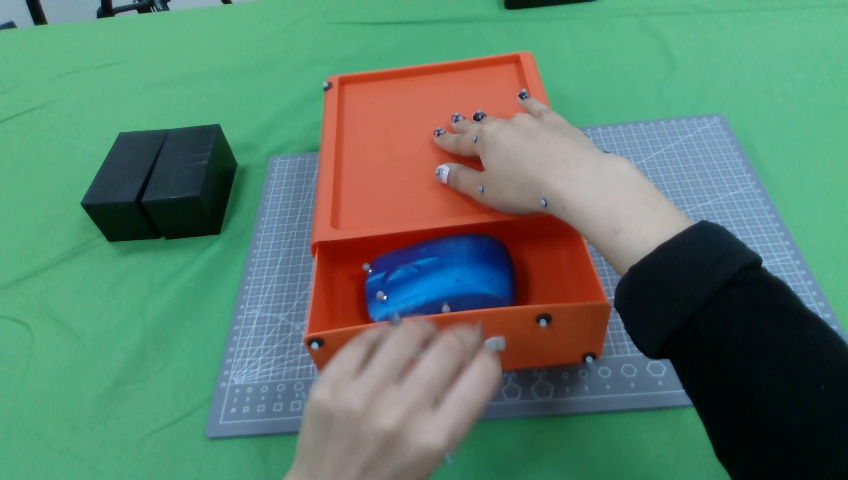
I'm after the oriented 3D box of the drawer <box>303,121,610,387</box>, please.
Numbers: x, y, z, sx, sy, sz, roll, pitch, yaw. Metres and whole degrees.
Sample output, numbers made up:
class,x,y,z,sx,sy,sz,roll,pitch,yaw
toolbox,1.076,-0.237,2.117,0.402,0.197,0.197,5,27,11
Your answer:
class,x,y,z,sx,sy,sz,roll,pitch,yaw
drawer,0.017,-0.002,0.466,0.194,0.074,0.209,-7,48,3

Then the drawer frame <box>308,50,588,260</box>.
class,x,y,z,sx,sy,sz,roll,pitch,yaw
drawer frame,0.013,-0.061,0.518,0.201,0.083,0.211,-8,47,2

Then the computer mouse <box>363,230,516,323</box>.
class,x,y,z,sx,sy,sz,roll,pitch,yaw
computer mouse,0.010,0.028,0.459,0.117,0.041,0.062,-8,51,7
